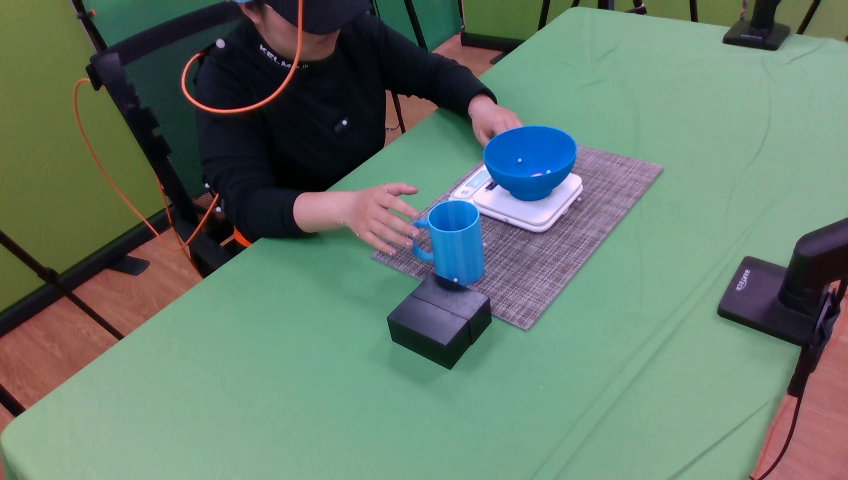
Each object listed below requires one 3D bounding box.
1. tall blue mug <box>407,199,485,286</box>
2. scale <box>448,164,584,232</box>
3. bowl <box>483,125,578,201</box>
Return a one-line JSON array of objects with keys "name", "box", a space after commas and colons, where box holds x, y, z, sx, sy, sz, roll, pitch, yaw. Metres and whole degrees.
[{"name": "tall blue mug", "box": [0.034, 0.008, 0.892, 0.107, 0.108, 0.077, -13, 41, -5]}, {"name": "scale", "box": [0.156, -0.085, 1.040, 0.199, 0.032, 0.149, 22, 49, 32]}, {"name": "bowl", "box": [0.175, -0.117, 0.991, 0.151, 0.077, 0.150, -6, 41, 5]}]
